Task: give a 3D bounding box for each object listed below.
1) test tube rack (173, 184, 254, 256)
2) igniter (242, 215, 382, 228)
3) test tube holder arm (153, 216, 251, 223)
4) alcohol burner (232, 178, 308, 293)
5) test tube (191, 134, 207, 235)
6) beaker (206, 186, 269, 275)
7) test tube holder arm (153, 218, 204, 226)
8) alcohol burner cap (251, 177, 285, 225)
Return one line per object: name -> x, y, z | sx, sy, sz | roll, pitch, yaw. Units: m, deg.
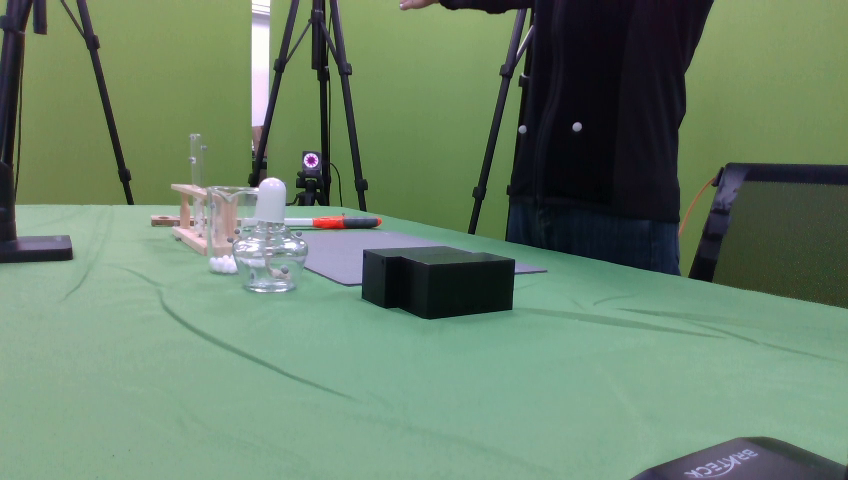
test tube rack -> -0.328, -0.036, 0.927 | 0.067, 0.085, 0.241 | -2, 9, -32
igniter -> -0.213, -0.036, 1.186 | 0.278, 0.025, 0.057 | -2, -1, -31
test tube holder arm -> -0.422, -0.038, 1.159 | 0.179, 0.015, 0.013 | -2, 42, -31
alcohol burner -> -0.161, -0.006, 0.632 | 0.078, 0.119, 0.078 | 1, 8, 0
test tube -> -0.336, -0.083, 0.903 | 0.017, 0.150, 0.017 | -1, 5, 0
beaker -> -0.220, -0.012, 0.717 | 0.074, 0.100, 0.084 | 2, 8, -3
test tube holder arm -> -0.459, -0.034, 1.132 | 0.088, 0.015, 0.010 | -1, 42, -29
alcohol burner cap -> -0.160, -0.041, 0.628 | 0.034, 0.048, 0.034 | 9, 6, -1
